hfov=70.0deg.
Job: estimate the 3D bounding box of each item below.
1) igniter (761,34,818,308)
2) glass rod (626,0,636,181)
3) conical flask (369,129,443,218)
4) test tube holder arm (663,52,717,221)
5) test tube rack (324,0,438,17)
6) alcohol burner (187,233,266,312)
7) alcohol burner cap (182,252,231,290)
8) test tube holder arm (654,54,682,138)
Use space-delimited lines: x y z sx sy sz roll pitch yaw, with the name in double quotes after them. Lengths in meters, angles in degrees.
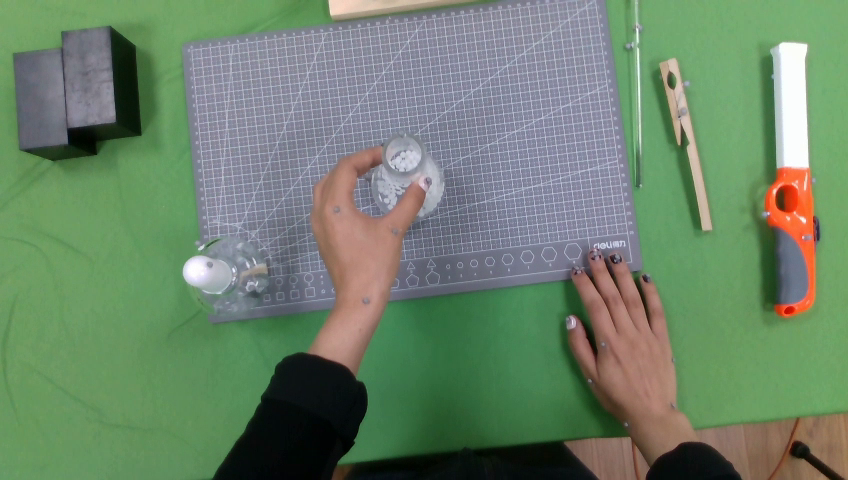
0.366 -0.070 0.610 0.057 0.025 0.276 1 87 -8 "igniter"
0.215 -0.160 0.629 0.008 0.008 0.199 -1 89 2 "glass rod"
-0.018 -0.065 0.555 0.075 0.122 0.075 0 84 0 "conical flask"
0.270 -0.105 0.618 0.013 0.015 0.178 -18 85 37 "test tube holder arm"
0.011 -0.291 0.605 0.242 0.085 0.066 -8 86 1 "test tube rack"
-0.194 0.030 0.576 0.078 0.119 0.077 0 85 4 "alcohol burner"
-0.197 0.026 0.540 0.034 0.048 0.033 -1 78 3 "alcohol burner cap"
0.254 -0.148 0.624 0.010 0.015 0.087 -16 86 38 "test tube holder arm"
